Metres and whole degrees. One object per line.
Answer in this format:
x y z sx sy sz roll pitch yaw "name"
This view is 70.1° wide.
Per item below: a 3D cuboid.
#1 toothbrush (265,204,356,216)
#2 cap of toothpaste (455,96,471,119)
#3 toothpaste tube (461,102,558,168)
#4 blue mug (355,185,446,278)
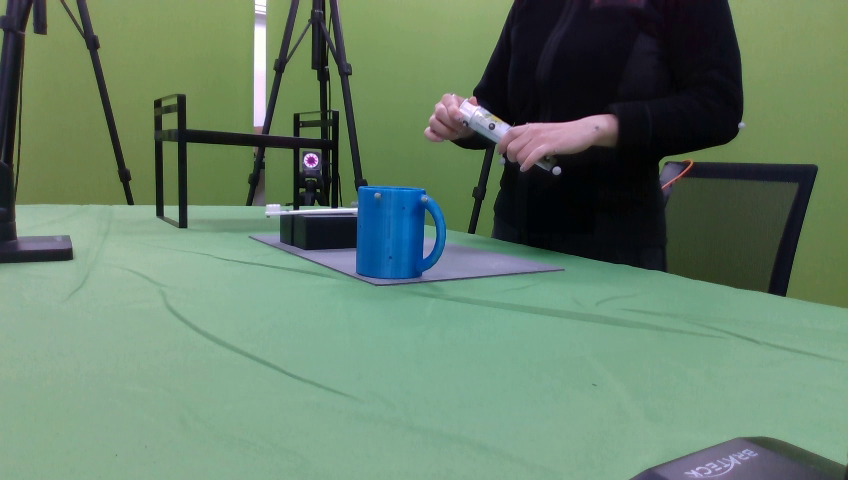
-0.160 -0.048 0.937 0.183 0.016 0.014 -4 5 -39 "toothbrush"
0.062 -0.204 0.930 0.011 0.037 0.037 31 13 8 "cap of toothpaste"
0.127 -0.160 0.917 0.165 0.034 0.055 32 41 8 "toothpaste tube"
-0.027 -0.011 0.723 0.116 0.106 0.083 6 8 27 "blue mug"
